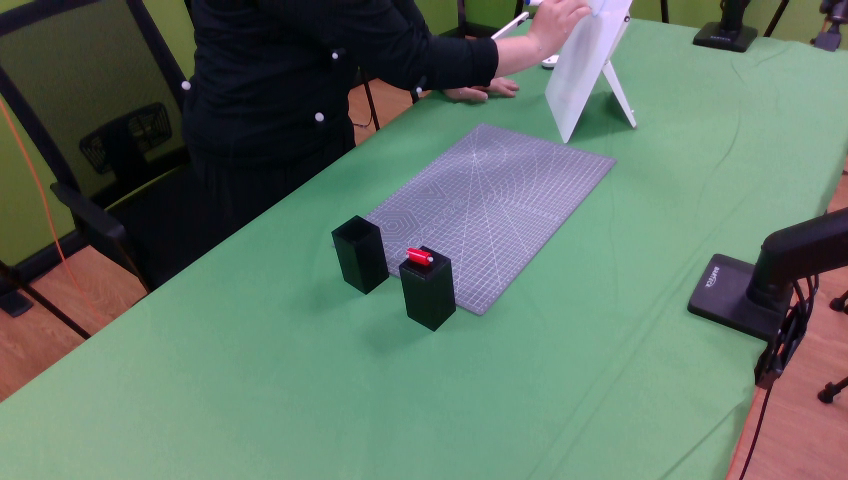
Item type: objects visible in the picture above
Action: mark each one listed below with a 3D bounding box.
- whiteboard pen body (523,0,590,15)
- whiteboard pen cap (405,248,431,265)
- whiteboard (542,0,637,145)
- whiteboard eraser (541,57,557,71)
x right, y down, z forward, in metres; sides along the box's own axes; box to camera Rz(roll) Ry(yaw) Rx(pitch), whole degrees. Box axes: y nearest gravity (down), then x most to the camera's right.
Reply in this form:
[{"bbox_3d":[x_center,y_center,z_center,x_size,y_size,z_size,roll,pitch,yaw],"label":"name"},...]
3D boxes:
[{"bbox_3d":[0.247,-0.428,1.114,0.141,0.017,0.016,0,37,-20],"label":"whiteboard pen body"},{"bbox_3d":[-0.008,0.021,0.794,0.032,0.017,0.017,16,45,28],"label":"whiteboard pen cap"},{"bbox_3d":[0.366,-0.351,1.160,0.144,0.305,0.216,10,39,-10],"label":"whiteboard"},{"bbox_3d":[0.324,-0.412,1.408,0.101,0.019,0.041,2,43,11],"label":"whiteboard eraser"}]
